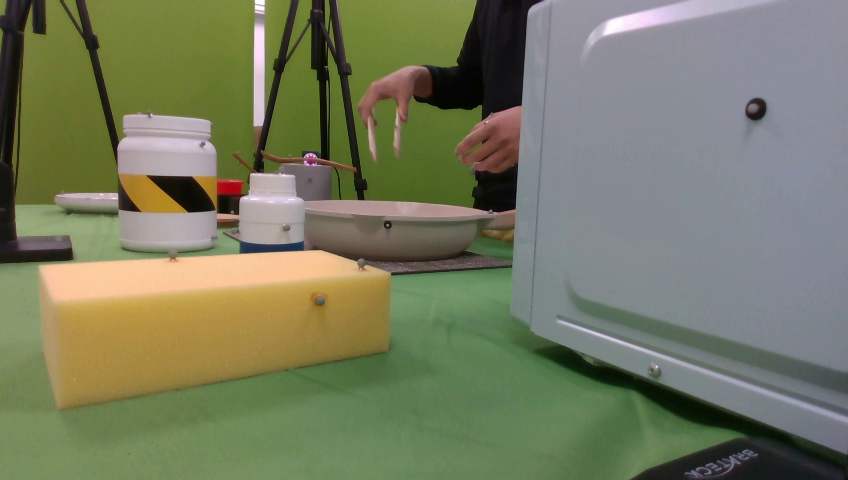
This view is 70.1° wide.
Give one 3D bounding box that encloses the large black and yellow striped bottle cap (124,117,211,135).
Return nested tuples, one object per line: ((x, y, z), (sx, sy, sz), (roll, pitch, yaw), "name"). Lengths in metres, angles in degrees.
((-0.366, -0.163, 0.866), (0.115, 0.019, 0.115), (3, 7, 0), "large black and yellow striped bottle cap")

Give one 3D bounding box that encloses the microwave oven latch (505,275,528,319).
((0.100, 0.041, 0.471), (0.079, 0.029, 0.030), (-1, 7, -28), "microwave oven latch")

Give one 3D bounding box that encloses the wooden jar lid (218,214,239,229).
((-0.404, -0.037, 1.169), (0.108, 0.020, 0.108), (3, 7, 0), "wooden jar lid")

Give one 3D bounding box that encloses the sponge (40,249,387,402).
((-0.142, 0.047, 0.419), (0.208, 0.061, 0.117), (-3, 8, -36), "sponge")

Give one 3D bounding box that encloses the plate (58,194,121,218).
((-0.671, -0.074, 1.310), (0.209, 0.038, 0.209), (2, 8, 0), "plate")

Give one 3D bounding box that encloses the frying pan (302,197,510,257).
((0.051, -0.035, 0.915), (0.487, 0.102, 0.307), (-5, 7, 11), "frying pan")

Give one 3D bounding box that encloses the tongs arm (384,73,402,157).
((-0.067, -0.262, 1.227), (0.050, 0.026, 0.384), (-16, 34, 11), "tongs arm")

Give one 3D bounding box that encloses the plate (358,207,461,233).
((-0.030, -0.041, 1.213), (0.208, 0.039, 0.207), (3, 6, 0), "plate")

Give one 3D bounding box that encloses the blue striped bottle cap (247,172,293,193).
((-0.152, -0.057, 0.598), (0.044, 0.020, 0.044), (3, 6, 0), "blue striped bottle cap")

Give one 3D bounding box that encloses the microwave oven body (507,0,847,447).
((0.331, -0.042, 0.425), (0.444, 0.260, 0.324), (-2, 8, -31), "microwave oven body")

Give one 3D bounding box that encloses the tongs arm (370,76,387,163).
((-0.093, -0.254, 1.230), (0.028, 0.028, 0.386), (-20, 33, 11), "tongs arm")

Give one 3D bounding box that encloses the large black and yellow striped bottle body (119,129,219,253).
((-0.367, -0.080, 0.876), (0.131, 0.184, 0.130), (1, 7, 0), "large black and yellow striped bottle body")

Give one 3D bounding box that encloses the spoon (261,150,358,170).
((-0.229, -0.162, 1.222), (0.194, 0.021, 0.041), (3, 4, -16), "spoon")

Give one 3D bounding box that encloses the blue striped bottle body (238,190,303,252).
((-0.153, -0.007, 0.606), (0.063, 0.120, 0.063), (2, 7, 0), "blue striped bottle body")

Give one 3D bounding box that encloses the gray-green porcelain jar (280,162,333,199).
((-0.238, -0.092, 1.221), (0.106, 0.126, 0.106), (2, 7, 0), "gray-green porcelain jar")

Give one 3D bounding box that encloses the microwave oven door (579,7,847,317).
((0.294, -0.067, 0.570), (0.358, 0.243, 0.039), (-3, 9, -31), "microwave oven door")

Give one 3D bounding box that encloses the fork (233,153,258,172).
((-0.396, -0.144, 1.486), (0.028, 0.018, 0.208), (20, -25, 45), "fork")
